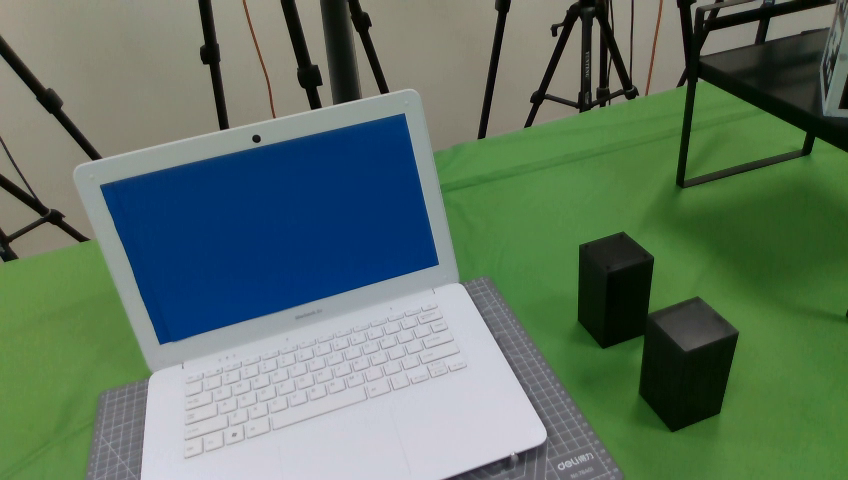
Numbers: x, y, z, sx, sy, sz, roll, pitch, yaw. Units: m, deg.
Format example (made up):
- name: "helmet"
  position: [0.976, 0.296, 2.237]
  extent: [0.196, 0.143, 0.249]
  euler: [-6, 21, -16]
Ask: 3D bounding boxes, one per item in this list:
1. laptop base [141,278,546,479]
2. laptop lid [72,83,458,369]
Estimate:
- name: "laptop base"
  position: [-0.090, 0.158, 0.589]
  extent: [0.355, 0.023, 0.233]
  euler: [-16, 39, -10]
- name: "laptop lid"
  position: [-0.150, -0.013, 0.646]
  extent: [0.357, 0.243, 0.013]
  euler: [-17, 18, -10]
